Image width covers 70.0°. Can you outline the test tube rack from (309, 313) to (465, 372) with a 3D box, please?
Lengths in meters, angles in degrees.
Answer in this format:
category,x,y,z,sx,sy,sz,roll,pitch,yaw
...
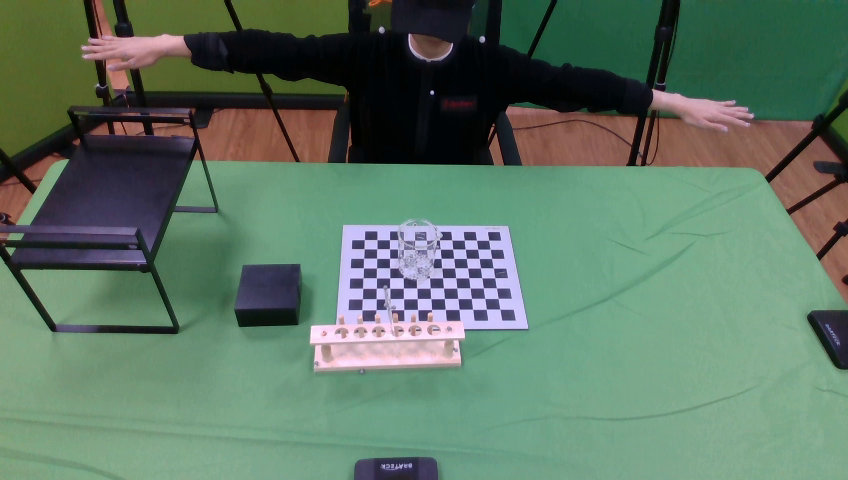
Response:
category,x,y,z,sx,sy,sz,roll,pitch,yaw
test tube rack,-0.059,0.161,0.990,0.242,0.085,0.066,-1,46,-5

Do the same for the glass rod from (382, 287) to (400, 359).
category,x,y,z,sx,sy,sz,roll,pitch,yaw
glass rod,-0.049,0.133,0.926,0.008,0.201,0.008,-3,50,3

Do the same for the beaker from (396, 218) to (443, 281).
category,x,y,z,sx,sy,sz,roll,pitch,yaw
beaker,-0.010,0.020,1.116,0.084,0.101,0.073,1,46,-3
